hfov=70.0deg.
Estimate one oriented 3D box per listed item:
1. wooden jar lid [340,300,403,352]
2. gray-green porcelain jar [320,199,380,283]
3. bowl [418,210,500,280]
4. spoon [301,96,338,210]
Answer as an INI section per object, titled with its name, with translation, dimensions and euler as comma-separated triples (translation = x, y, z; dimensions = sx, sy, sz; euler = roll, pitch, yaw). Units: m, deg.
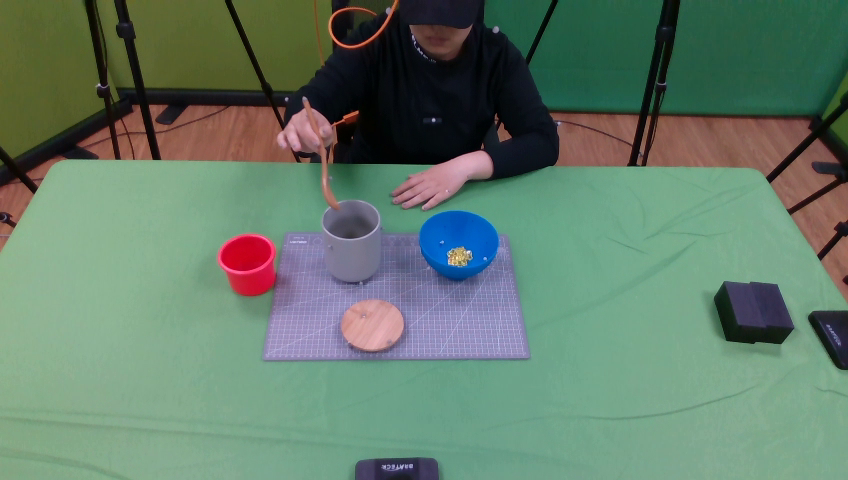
[wooden jar lid]
translation = -0.090, 0.150, 1.046
dimensions = 0.108, 0.021, 0.107
euler = 3, 47, -3
[gray-green porcelain jar]
translation = -0.132, 0.007, 1.106
dimensions = 0.106, 0.127, 0.105
euler = 2, 46, -2
[bowl]
translation = 0.062, 0.022, 1.141
dimensions = 0.151, 0.077, 0.150
euler = 2, 46, -2
[spoon]
translation = -0.173, -0.142, 1.004
dimensions = 0.021, 0.194, 0.041
euler = -8, 19, 4
